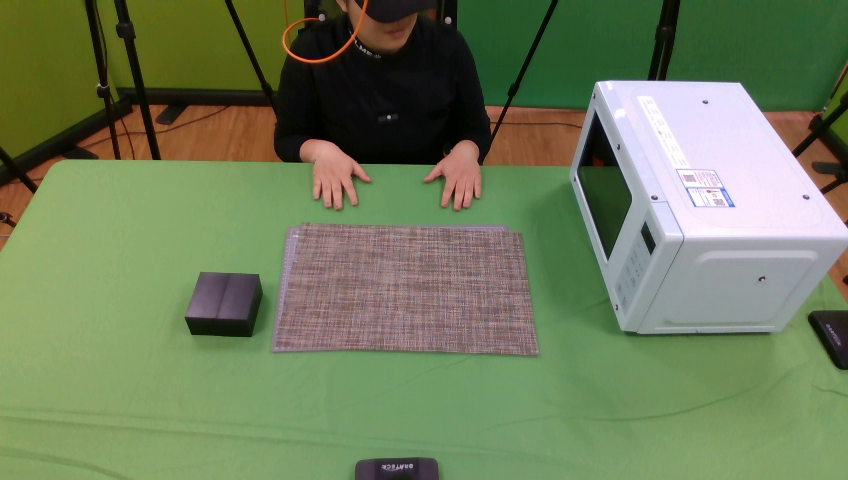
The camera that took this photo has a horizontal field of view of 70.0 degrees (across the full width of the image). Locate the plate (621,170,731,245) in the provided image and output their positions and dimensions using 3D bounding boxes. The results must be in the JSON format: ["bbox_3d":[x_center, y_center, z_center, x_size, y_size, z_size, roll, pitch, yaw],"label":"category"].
[{"bbox_3d":[0.490,-0.060,1.194,0.209,0.038,0.208,3,45,-2],"label":"plate"}]

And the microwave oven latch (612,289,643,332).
[{"bbox_3d":[0.357,0.124,1.068,0.030,0.029,0.078,0,45,-3],"label":"microwave oven latch"}]

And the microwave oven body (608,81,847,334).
[{"bbox_3d":[0.501,-0.070,1.132,0.326,0.261,0.438,-1,45,-4],"label":"microwave oven body"}]

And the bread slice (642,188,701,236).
[{"bbox_3d":[0.494,-0.056,1.197,0.105,0.019,0.131,6,42,4],"label":"bread slice"}]

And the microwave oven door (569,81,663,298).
[{"bbox_3d":[0.353,-0.104,1.147,0.039,0.245,0.353,0,46,-4],"label":"microwave oven door"}]
